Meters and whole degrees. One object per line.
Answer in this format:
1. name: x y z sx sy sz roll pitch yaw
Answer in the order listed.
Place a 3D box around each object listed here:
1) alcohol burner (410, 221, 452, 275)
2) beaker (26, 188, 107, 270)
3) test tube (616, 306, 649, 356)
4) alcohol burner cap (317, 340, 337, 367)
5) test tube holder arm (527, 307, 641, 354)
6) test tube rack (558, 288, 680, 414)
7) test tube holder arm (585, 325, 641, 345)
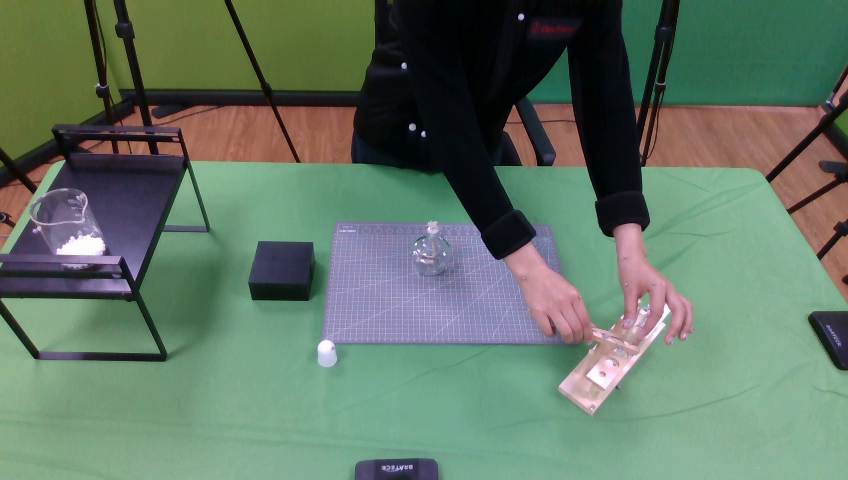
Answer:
1. alcohol burner: 0.013 0.008 1.119 0.078 0.120 0.077 1 48 -1
2. beaker: -0.503 -0.012 0.867 0.084 0.101 0.074 23 49 17
3. test tube: 0.311 0.147 0.917 0.017 0.151 0.017 1 50 -1
4. alcohol burner cap: -0.161 0.183 0.994 0.034 0.048 0.033 2 46 -2
5. test tube holder arm: 0.244 0.138 0.929 0.178 0.015 0.013 18 48 3
6. test tube rack: 0.327 0.171 1.008 0.066 0.085 0.242 36 54 26
7. test tube holder arm: 0.289 0.147 0.932 0.088 0.015 0.010 12 49 -3
